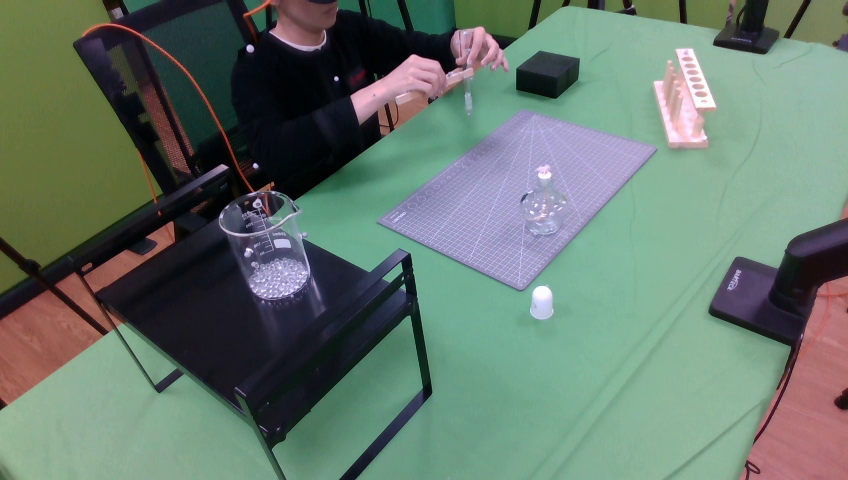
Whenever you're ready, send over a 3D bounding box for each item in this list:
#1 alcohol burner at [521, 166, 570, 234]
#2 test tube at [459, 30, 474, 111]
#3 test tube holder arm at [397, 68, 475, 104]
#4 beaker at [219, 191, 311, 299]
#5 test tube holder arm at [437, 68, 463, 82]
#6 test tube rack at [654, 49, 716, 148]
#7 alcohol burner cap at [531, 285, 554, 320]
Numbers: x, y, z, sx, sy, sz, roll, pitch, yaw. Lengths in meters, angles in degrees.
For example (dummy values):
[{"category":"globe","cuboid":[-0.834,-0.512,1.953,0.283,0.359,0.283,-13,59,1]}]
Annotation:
[{"category":"alcohol burner","cuboid":[0.192,-0.068,0.951,0.078,0.119,0.077,-4,42,4]},{"category":"test tube","cuboid":[0.080,-0.312,1.122,0.017,0.151,0.017,-6,32,4]},{"category":"test tube holder arm","cuboid":[0.024,-0.274,1.071,0.179,0.015,0.013,-30,33,-32]},{"category":"beaker","cuboid":[-0.164,0.008,0.654,0.084,0.101,0.073,-10,41,-3]},{"category":"test tube holder arm","cuboid":[0.049,-0.295,1.101,0.010,0.015,0.088,7,33,29]},{"category":"test tube rack","cuboid":[0.502,-0.281,1.176,0.066,0.085,0.241,2,41,11]},{"category":"alcohol burner cap","cuboid":[0.164,0.084,0.838,0.034,0.048,0.033,-4,40,4]}]
